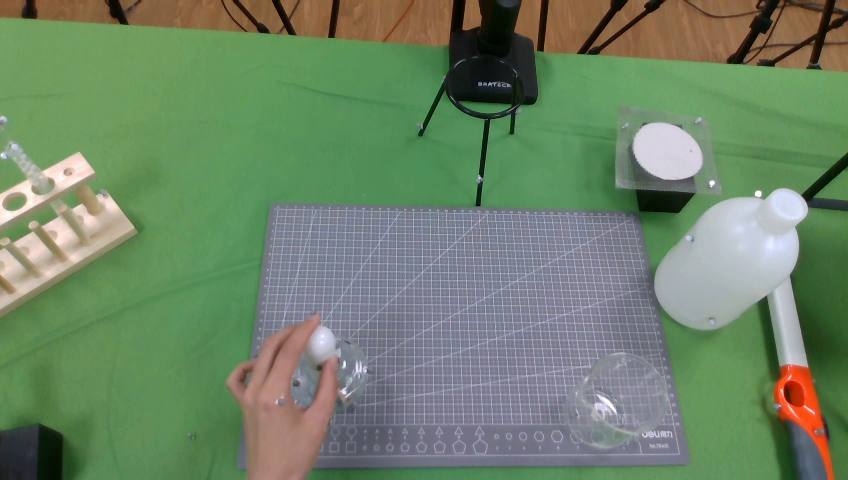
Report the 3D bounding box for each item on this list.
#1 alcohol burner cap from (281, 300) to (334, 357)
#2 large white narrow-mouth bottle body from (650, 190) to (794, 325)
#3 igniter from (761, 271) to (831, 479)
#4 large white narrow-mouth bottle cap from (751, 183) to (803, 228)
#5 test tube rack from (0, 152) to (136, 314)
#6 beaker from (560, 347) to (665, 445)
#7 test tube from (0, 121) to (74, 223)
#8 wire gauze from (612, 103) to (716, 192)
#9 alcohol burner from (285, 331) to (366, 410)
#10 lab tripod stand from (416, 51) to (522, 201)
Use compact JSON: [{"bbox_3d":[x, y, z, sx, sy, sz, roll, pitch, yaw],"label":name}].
[{"bbox_3d":[-0.098,0.078,0.522,0.034,0.034,0.047,-31,74,-19],"label":"alcohol burner cap"},{"bbox_3d":[0.314,0.011,0.626,0.102,0.196,0.101,2,61,-3],"label":"large white narrow-mouth bottle body"},{"bbox_3d":[0.398,0.144,0.658,0.057,0.025,0.274,12,61,-10],"label":"igniter"},{"bbox_3d":[0.320,-0.031,0.550,0.038,0.024,0.037,2,62,-3],"label":"large white narrow-mouth bottle cap"},{"bbox_3d":[-0.435,0.016,0.618,0.242,0.086,0.066,-37,71,-21],"label":"test tube rack"},{"bbox_3d":[0.174,0.155,0.588,0.084,0.101,0.073,-2,62,-5],"label":"beaker"},{"bbox_3d":[-0.391,-0.064,0.606,0.017,0.151,0.017,1,56,-1],"label":"test tube"},{"bbox_3d":[0.289,-0.113,0.739,0.121,0.011,0.124,8,61,-1],"label":"wire gauze"},{"bbox_3d":[-0.094,0.118,0.575,0.078,0.120,0.077,3,61,-5],"label":"alcohol burner"},{"bbox_3d":[0.061,-0.141,0.718,0.148,0.132,0.147,3,63,-5],"label":"lab tripod stand"}]
